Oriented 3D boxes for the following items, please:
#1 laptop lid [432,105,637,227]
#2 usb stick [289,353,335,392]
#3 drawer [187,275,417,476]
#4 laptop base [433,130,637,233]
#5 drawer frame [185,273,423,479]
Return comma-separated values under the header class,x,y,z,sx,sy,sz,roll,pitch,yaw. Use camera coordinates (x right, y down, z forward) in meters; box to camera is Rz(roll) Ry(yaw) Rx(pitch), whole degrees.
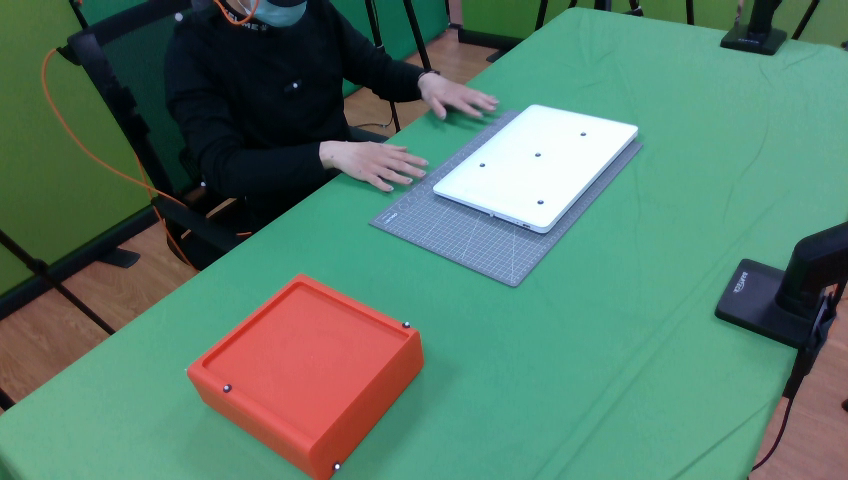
class,x,y,z,sx,sy,sz,roll,pitch,yaw
laptop lid,0.207,-0.152,1.104,0.239,0.013,0.358,23,49,34
usb stick,-0.146,0.172,0.774,0.059,0.027,0.021,-29,44,-24
drawer,-0.148,0.159,0.761,0.210,0.073,0.195,22,47,29
laptop base,0.210,-0.142,1.111,0.233,0.023,0.355,21,47,34
drawer frame,-0.145,0.158,0.760,0.212,0.083,0.202,22,47,28
